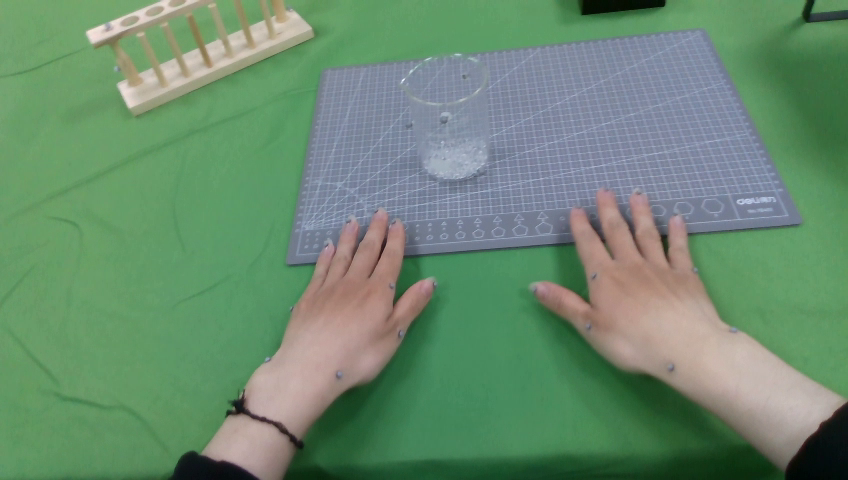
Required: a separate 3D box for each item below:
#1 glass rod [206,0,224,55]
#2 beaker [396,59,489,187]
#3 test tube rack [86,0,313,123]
[{"bbox_3d":[-0.262,-0.311,0.712,0.008,0.201,0.008,-2,43,2],"label":"glass rod"},{"bbox_3d":[0.022,-0.107,0.572,0.084,0.101,0.073,3,51,13],"label":"beaker"},{"bbox_3d":[-0.268,-0.244,0.745,0.242,0.086,0.066,-30,52,-15],"label":"test tube rack"}]
